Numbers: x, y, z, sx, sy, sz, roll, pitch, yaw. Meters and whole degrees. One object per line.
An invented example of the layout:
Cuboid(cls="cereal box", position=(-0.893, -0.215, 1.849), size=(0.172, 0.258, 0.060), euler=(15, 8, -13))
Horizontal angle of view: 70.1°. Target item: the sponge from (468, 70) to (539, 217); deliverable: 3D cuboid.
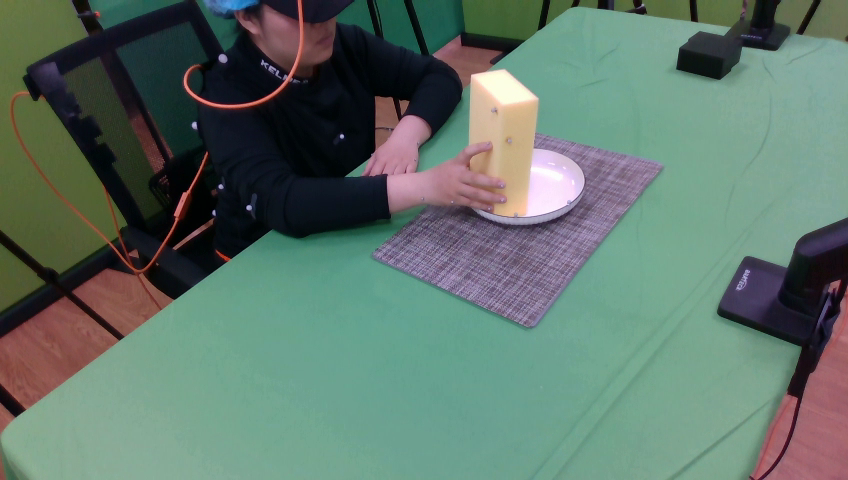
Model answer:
Cuboid(cls="sponge", position=(0.123, -0.151, 0.975), size=(0.061, 0.207, 0.117), euler=(-13, 38, -15))

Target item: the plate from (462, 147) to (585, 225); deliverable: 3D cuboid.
Cuboid(cls="plate", position=(0.170, -0.089, 1.041), size=(0.207, 0.039, 0.206), euler=(-5, 40, 5))
